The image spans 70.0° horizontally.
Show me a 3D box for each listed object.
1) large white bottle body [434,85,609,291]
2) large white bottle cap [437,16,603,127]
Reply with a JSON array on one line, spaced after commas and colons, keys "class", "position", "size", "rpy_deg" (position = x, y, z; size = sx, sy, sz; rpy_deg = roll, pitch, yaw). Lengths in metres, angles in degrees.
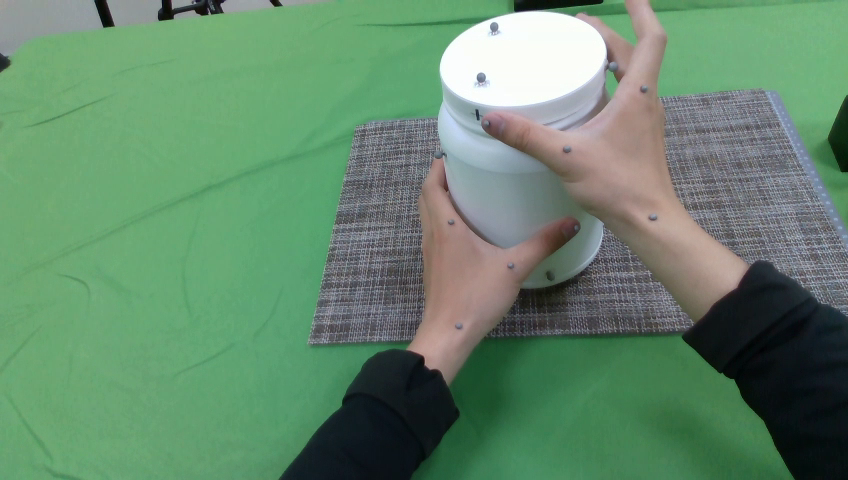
[{"class": "large white bottle body", "position": [0.079, -0.062, 0.488], "size": [0.130, 0.186, 0.129], "rpy_deg": [-6, 47, 7]}, {"class": "large white bottle cap", "position": [0.066, -0.121, 0.424], "size": [0.115, 0.018, 0.113], "rpy_deg": [-6, 48, 8]}]
